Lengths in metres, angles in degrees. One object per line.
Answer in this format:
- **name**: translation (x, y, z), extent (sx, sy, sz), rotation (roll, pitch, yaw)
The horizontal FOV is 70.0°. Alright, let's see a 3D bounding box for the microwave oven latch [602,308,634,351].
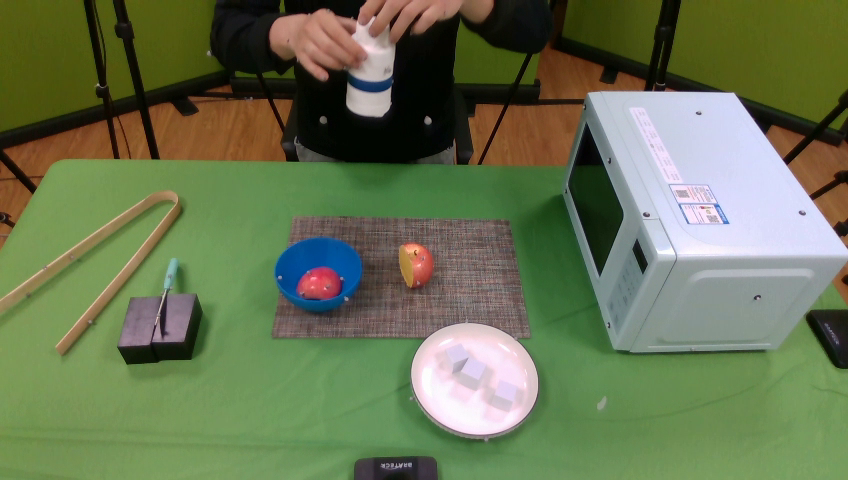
- **microwave oven latch**: translation (0.332, 0.153, 1.044), extent (0.030, 0.029, 0.078), rotation (-1, 45, -4)

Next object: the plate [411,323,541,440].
- **plate**: translation (0.082, 0.228, 0.976), extent (0.208, 0.039, 0.206), rotation (2, 45, -2)

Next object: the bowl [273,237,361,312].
- **bowl**: translation (-0.186, 0.074, 1.069), extent (0.151, 0.077, 0.150), rotation (3, 46, -3)

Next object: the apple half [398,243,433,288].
- **apple half**: translation (-0.012, 0.046, 1.115), extent (0.053, 0.075, 0.080), rotation (-11, 44, -19)

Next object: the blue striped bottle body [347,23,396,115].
- **blue striped bottle body**: translation (-0.072, -0.238, 0.827), extent (0.063, 0.121, 0.062), rotation (6, 41, -5)

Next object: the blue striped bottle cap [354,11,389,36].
- **blue striped bottle cap**: translation (-0.068, -0.279, 0.798), extent (0.045, 0.020, 0.044), rotation (8, 61, -14)

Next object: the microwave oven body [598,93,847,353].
- **microwave oven body**: translation (0.475, -0.041, 1.109), extent (0.326, 0.261, 0.438), rotation (-1, 45, -4)

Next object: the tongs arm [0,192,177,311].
- **tongs arm**: translation (-0.618, 0.019, 1.124), extent (0.050, 0.026, 0.384), rotation (23, 47, 17)

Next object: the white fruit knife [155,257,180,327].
- **white fruit knife**: translation (-0.440, 0.085, 1.037), extent (0.016, 0.027, 0.206), rotation (10, 26, -19)

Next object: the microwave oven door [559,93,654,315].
- **microwave oven door**: translation (0.327, -0.074, 1.123), extent (0.039, 0.245, 0.353), rotation (-1, 46, -5)

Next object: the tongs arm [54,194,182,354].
- **tongs arm**: translation (-0.543, 0.048, 1.107), extent (0.028, 0.028, 0.385), rotation (11, 45, 10)

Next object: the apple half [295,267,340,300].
- **apple half**: translation (-0.187, 0.070, 1.067), extent (0.081, 0.033, 0.081), rotation (3, 47, -3)
